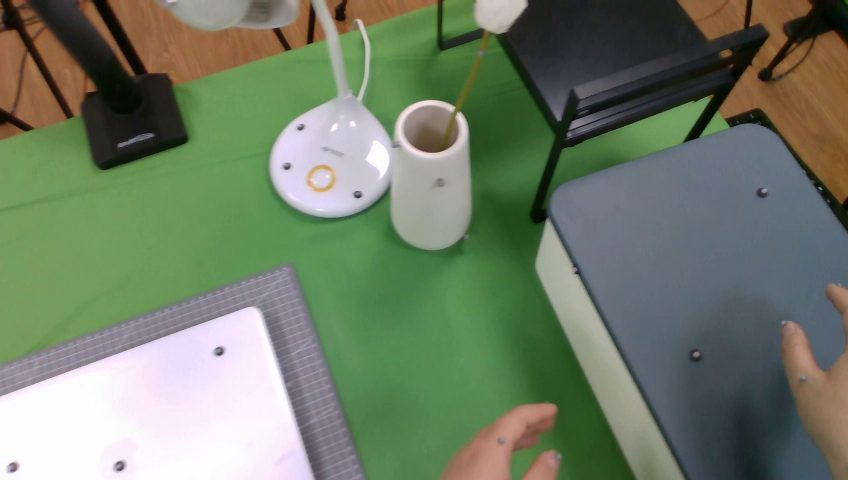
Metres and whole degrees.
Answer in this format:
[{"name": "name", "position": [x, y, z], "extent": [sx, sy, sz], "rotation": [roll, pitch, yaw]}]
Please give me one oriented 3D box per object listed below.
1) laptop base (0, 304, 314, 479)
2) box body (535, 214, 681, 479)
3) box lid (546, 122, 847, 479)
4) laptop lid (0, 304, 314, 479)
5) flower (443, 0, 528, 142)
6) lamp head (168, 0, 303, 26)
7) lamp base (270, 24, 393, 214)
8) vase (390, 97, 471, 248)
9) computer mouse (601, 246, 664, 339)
[{"name": "laptop base", "position": [-0.309, 0.229, 0.626], "extent": [0.355, 0.023, 0.234], "rotation": [-20, 71, -10]}, {"name": "box body", "position": [0.297, 0.096, 0.619], "extent": [0.254, 0.161, 0.361], "rotation": [-19, 67, -9]}, {"name": "box lid", "position": [0.296, 0.063, 0.551], "extent": [0.263, 0.015, 0.368], "rotation": [-18, 67, -9]}, {"name": "laptop lid", "position": [-0.308, 0.227, 0.615], "extent": [0.357, 0.013, 0.240], "rotation": [-19, 70, -9]}, {"name": "flower", "position": [0.026, -0.110, 0.596], "extent": [0.038, 0.364, 0.043], "rotation": [-4, 55, -20]}, {"name": "lamp head", "position": [-0.131, -0.223, 0.417], "extent": [0.112, 0.112, 0.122], "rotation": [8, 83, 3]}, {"name": "lamp base", "position": [-0.114, -0.149, 0.712], "extent": [0.160, 0.181, 0.178], "rotation": [11, 63, 4]}, {"name": "vase", "position": [0.007, -0.069, 0.668], "extent": [0.098, 0.201, 0.097], "rotation": [0, 64, 1]}, {"name": "computer mouse", "position": [0.242, 0.057, 0.698], "extent": [0.062, 0.041, 0.116], "rotation": [11, 59, 8]}]
